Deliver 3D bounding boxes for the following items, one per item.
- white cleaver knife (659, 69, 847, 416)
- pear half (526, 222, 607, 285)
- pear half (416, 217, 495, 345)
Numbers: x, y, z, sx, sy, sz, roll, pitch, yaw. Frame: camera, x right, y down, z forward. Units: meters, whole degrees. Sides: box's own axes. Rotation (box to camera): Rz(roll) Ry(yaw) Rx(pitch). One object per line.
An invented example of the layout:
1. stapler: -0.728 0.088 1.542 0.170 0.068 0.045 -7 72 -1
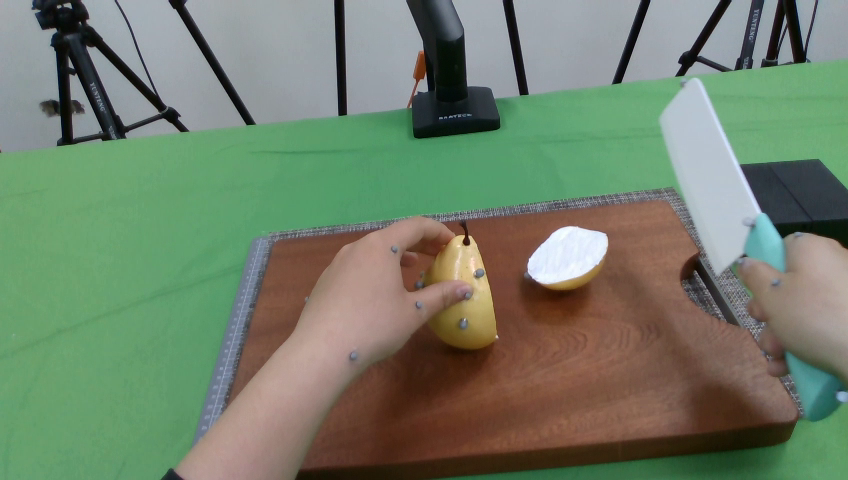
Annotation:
1. white cleaver knife: 0.222 -0.013 0.434 0.021 0.066 0.283 6 53 -10
2. pear half: 0.125 0.016 0.521 0.070 0.031 0.087 -13 22 18
3. pear half: 0.021 0.030 0.458 0.056 0.111 0.075 -15 35 -8
